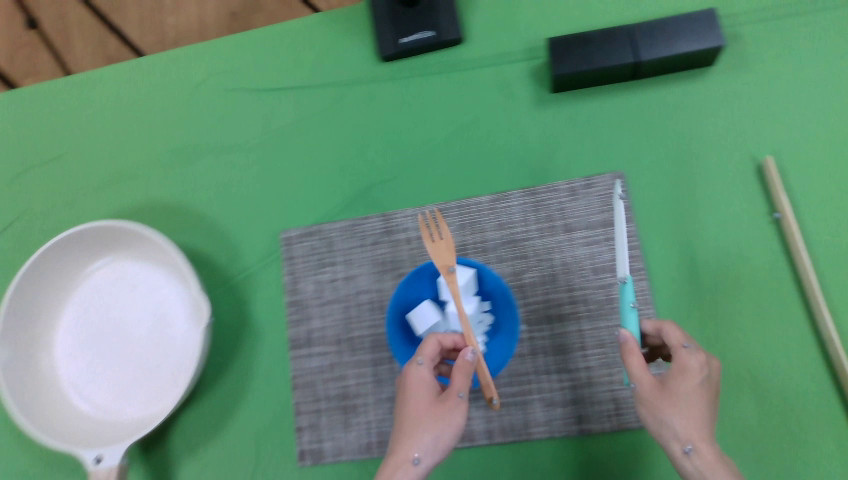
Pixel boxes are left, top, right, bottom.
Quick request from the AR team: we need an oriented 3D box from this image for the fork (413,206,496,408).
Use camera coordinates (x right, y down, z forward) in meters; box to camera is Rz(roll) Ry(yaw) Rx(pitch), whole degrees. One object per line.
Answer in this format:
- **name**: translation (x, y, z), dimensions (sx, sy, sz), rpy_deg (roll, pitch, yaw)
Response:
- **fork**: translation (0.032, 0.067, 0.592), dimensions (0.028, 0.018, 0.207), rpy_deg (-19, 88, -3)

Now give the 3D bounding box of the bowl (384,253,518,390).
- **bowl**: translation (0.035, 0.096, 0.703), dimensions (0.151, 0.077, 0.150), rpy_deg (-2, 78, 9)

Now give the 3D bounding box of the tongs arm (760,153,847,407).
- **tongs arm**: translation (0.444, 0.081, 0.665), dimensions (0.028, 0.028, 0.385), rpy_deg (-15, 76, 5)

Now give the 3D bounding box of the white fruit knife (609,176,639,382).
- **white fruit knife**: translation (0.196, 0.040, 0.600), dimensions (0.016, 0.027, 0.207), rpy_deg (-6, 91, -14)

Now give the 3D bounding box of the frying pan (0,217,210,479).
- **frying pan**: translation (-0.392, 0.213, 0.743), dimensions (0.306, 0.103, 0.484), rpy_deg (-11, 68, 8)
